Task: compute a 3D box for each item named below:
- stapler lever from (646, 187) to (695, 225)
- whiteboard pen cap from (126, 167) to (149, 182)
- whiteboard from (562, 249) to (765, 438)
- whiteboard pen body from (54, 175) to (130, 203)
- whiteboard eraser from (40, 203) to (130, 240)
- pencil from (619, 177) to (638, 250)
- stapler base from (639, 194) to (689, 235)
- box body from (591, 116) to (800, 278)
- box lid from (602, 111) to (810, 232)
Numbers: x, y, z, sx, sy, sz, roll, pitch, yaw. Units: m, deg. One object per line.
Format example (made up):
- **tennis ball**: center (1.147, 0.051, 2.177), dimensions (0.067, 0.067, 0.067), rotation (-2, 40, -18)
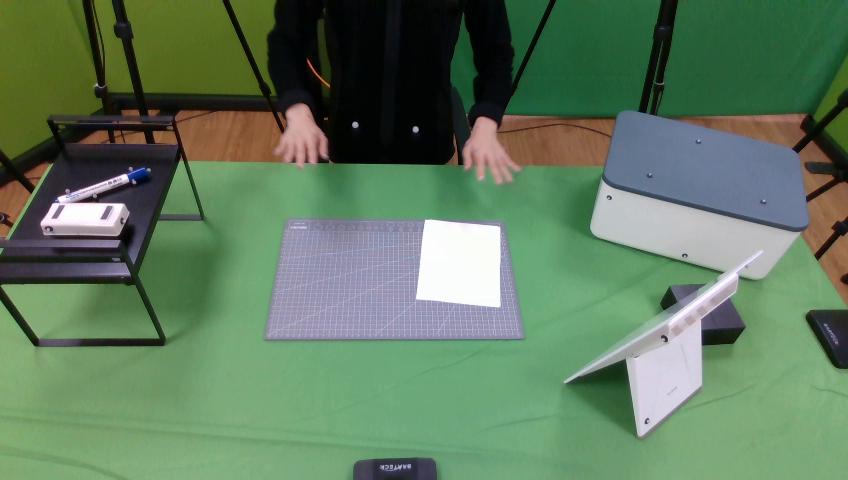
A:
- **stapler lever**: center (0.516, -0.078, 1.266), dimensions (0.027, 0.040, 0.117), rotation (1, 40, -31)
- **whiteboard pen cap**: center (-0.482, -0.110, 1.019), dimensions (0.033, 0.018, 0.018), rotation (-28, 55, -27)
- **whiteboard**: center (0.386, 0.175, 0.905), dimensions (0.217, 0.306, 0.143), rotation (-26, 72, -26)
- **whiteboard pen body**: center (-0.530, -0.085, 0.994), dimensions (0.141, 0.017, 0.017), rotation (-26, 54, -26)
- **whiteboard eraser**: center (-0.513, -0.028, 0.922), dimensions (0.113, 0.042, 0.055), rotation (1, 48, -3)
- **pencil**: center (0.431, -0.060, 1.284), dimensions (0.012, 0.012, 0.193), rotation (2, 55, -2)
- **stapler base**: center (0.510, -0.060, 1.278), dimensions (0.041, 0.024, 0.129), rotation (1, 38, -32)
- **box body**: center (0.540, -0.092, 1.229), dimensions (0.363, 0.161, 0.253), rotation (16, 47, 11)
- **box lid**: center (0.545, -0.143, 1.176), dimensions (0.371, 0.015, 0.262), rotation (15, 47, 11)
